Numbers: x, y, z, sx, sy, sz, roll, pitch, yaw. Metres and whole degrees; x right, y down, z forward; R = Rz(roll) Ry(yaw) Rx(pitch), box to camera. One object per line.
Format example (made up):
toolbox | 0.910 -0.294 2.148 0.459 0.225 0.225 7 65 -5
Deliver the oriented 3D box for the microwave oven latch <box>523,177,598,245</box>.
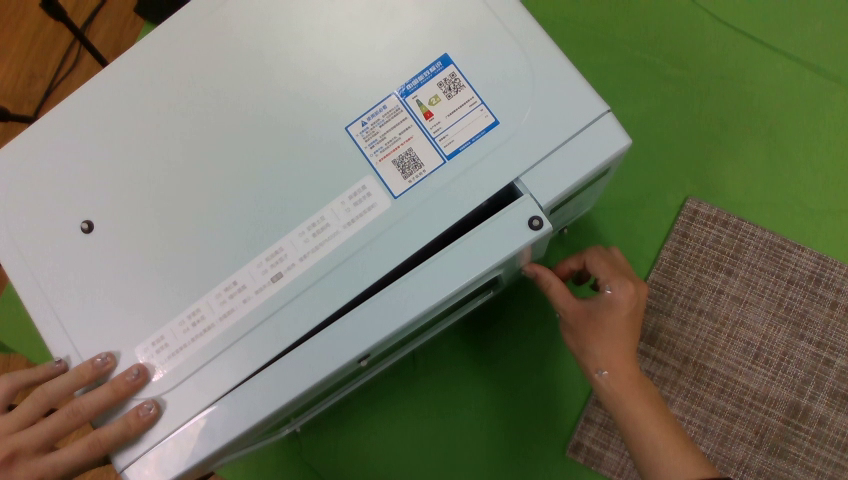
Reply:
microwave oven latch | 0.141 -0.029 0.629 0.079 0.029 0.030 -35 79 3

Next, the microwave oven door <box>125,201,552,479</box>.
microwave oven door | -0.047 0.094 0.537 0.356 0.245 0.039 -34 78 3

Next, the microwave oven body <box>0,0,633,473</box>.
microwave oven body | -0.102 -0.053 0.569 0.442 0.261 0.324 -37 79 3

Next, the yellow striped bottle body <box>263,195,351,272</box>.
yellow striped bottle body | -0.111 -0.005 0.571 0.063 0.120 0.062 0 83 4
